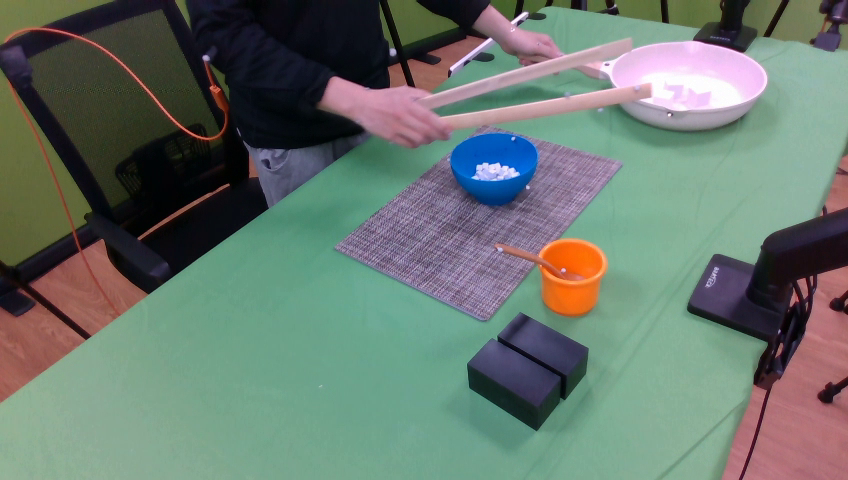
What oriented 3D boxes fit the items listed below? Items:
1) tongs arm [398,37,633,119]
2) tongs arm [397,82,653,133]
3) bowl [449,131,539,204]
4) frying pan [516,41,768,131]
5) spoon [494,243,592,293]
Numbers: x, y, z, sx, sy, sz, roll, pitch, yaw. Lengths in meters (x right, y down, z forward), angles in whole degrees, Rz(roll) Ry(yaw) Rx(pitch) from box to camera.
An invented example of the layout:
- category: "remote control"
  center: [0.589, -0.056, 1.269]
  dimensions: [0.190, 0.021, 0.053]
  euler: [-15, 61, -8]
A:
- category: "tongs arm"
  center: [0.145, -0.259, 0.973]
  dimensions: [0.387, 0.028, 0.028]
  euler: [-15, 49, 5]
- category: "tongs arm"
  center: [0.143, -0.206, 0.921]
  dimensions: [0.384, 0.027, 0.050]
  euler: [-7, 47, 14]
- category: "bowl"
  center: [0.121, -0.114, 1.034]
  dimensions: [0.151, 0.077, 0.150]
  euler: [-4, 41, 4]
- category: "frying pan"
  center: [0.424, -0.338, 1.236]
  dimensions: [0.486, 0.103, 0.307]
  euler: [19, 45, 15]
- category: "spoon"
  center: [0.162, 0.034, 0.808]
  dimensions: [0.021, 0.195, 0.041]
  euler: [-47, 40, 21]
